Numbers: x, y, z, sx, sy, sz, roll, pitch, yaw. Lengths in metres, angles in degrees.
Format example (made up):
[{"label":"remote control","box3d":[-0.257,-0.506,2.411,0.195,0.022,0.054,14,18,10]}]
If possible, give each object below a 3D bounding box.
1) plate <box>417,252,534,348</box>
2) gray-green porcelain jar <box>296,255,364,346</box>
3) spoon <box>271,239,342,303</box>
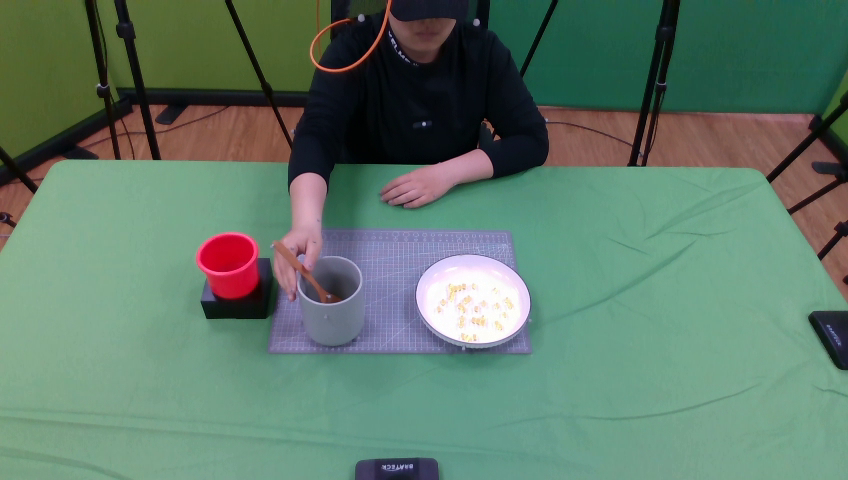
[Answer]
[{"label":"plate","box3d":[0.090,0.109,1.084,0.208,0.039,0.206,2,46,-2]},{"label":"gray-green porcelain jar","box3d":[-0.153,0.106,1.008,0.106,0.127,0.105,2,46,-2]},{"label":"spoon","box3d":[-0.183,0.067,0.983,0.021,0.195,0.041,7,51,44]}]
